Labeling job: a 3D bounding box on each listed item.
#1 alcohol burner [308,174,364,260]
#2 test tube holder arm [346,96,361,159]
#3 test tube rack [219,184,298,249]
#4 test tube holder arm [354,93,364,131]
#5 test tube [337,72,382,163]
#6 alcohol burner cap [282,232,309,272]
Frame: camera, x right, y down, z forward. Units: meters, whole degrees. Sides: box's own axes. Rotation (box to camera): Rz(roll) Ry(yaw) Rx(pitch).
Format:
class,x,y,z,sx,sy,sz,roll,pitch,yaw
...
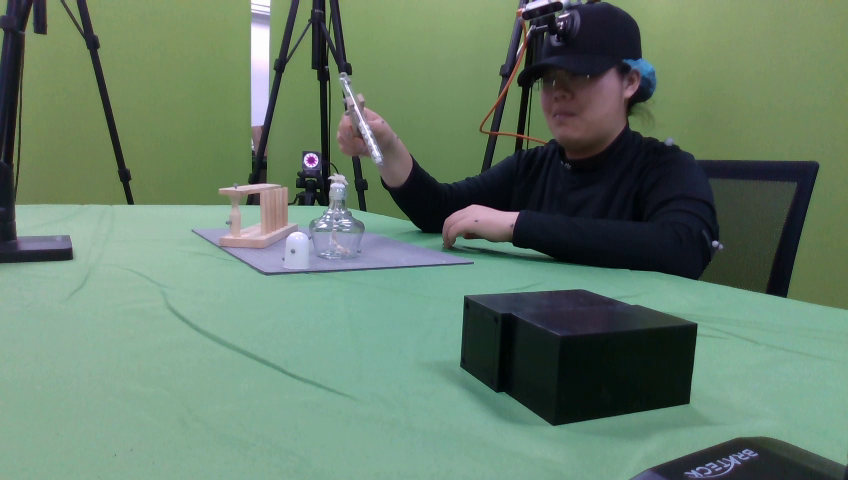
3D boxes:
class,x,y,z,sx,sy,sz,roll,pitch,yaw
alcohol burner,-0.121,-0.033,0.841,0.078,0.119,0.078,3,5,0
test tube holder arm,-0.108,-0.170,0.934,0.013,0.015,0.178,-18,-16,-9
test tube rack,-0.266,-0.046,1.001,0.067,0.085,0.242,2,7,0
test tube holder arm,-0.098,-0.186,0.893,0.010,0.015,0.088,-16,-16,-16
test tube,-0.092,-0.176,0.866,0.017,0.150,0.017,-22,-14,-6
alcohol burner cap,-0.157,0.014,0.740,0.034,0.048,0.034,2,6,0
